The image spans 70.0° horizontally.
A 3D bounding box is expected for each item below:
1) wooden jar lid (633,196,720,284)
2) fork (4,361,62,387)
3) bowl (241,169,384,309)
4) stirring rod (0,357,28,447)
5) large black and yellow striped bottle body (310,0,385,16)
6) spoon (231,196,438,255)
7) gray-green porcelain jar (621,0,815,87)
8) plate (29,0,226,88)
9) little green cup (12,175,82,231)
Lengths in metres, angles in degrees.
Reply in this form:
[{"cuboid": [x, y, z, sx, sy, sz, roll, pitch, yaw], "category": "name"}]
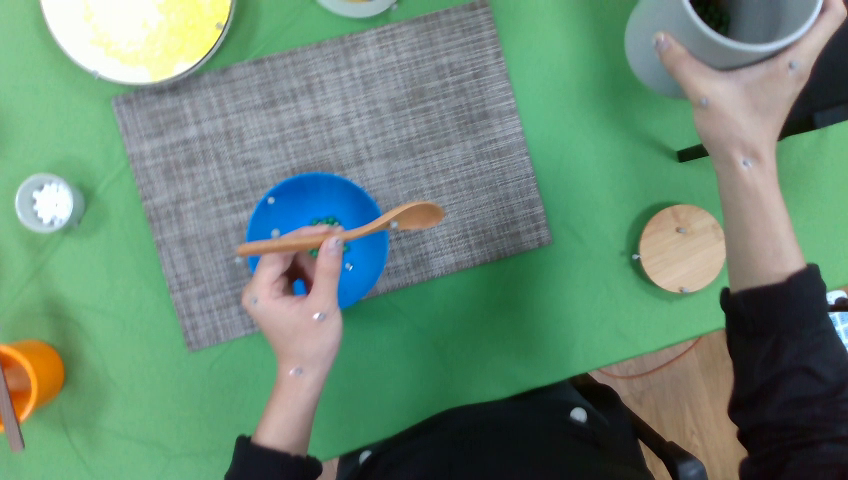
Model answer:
[{"cuboid": [0.309, 0.000, 0.746, 0.108, 0.020, 0.108, 0, 93, -4], "category": "wooden jar lid"}, {"cuboid": [-0.492, 0.149, 0.624, 0.209, 0.018, 0.028, 1, 95, -48], "category": "fork"}, {"cuboid": [-0.120, -0.002, 0.679, 0.151, 0.076, 0.151, 0, 93, -4], "category": "bowl"}, {"cuboid": [-0.441, 0.130, 0.624, 0.014, 0.006, 0.176, -16, 94, -3], "category": "stirring rod"}, {"cuboid": [-0.083, -0.323, 0.619, 0.131, 0.183, 0.131, 0, 92, -4], "category": "large black and yellow striped bottle body"}, {"cuboid": [-0.065, -0.011, 0.499, 0.194, 0.042, 0.021, -17, 69, -41], "category": "spoon"}, {"cuboid": [0.222, -0.186, 0.477, 0.106, 0.126, 0.105, 0, 86, -2], "category": "gray-green porcelain jar"}, {"cuboid": [-0.324, -0.272, 0.675, 0.209, 0.038, 0.209, 0, 93, -5], "category": "plate"}, {"cuboid": [-0.418, -0.040, 0.676, 0.061, 0.038, 0.061, 0, 93, -4], "category": "little green cup"}]
